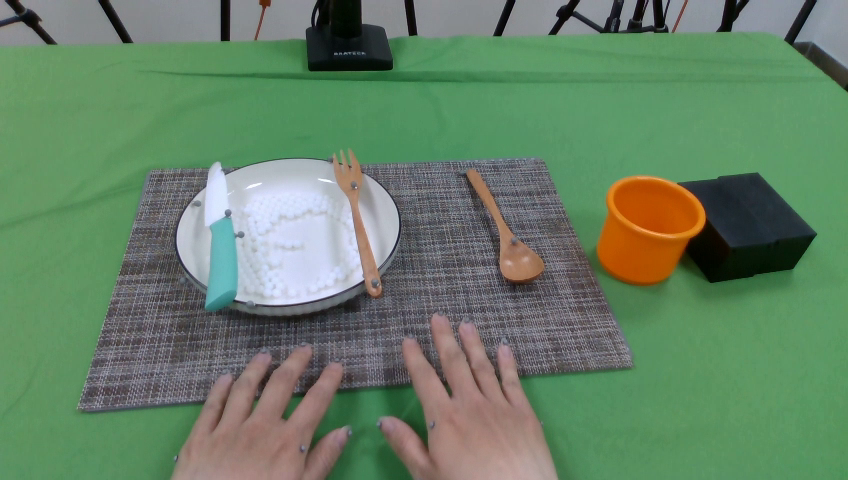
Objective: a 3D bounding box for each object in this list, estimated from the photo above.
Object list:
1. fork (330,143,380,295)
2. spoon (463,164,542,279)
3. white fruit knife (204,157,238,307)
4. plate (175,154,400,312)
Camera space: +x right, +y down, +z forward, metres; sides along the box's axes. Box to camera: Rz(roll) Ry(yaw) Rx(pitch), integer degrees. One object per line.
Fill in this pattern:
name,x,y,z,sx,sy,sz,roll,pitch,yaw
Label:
fork,-0.066,-0.027,0.579,0.028,0.019,0.205,-14,45,-5
spoon,0.075,-0.027,0.633,0.041,0.022,0.191,-20,47,0
white fruit knife,-0.189,-0.018,0.559,0.027,0.016,0.205,-11,45,-11
plate,-0.127,-0.008,0.586,0.209,0.038,0.207,3,44,-2
